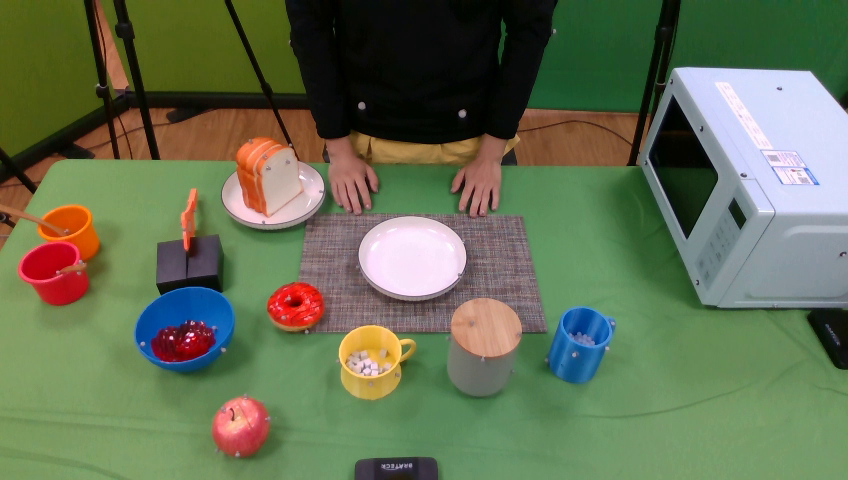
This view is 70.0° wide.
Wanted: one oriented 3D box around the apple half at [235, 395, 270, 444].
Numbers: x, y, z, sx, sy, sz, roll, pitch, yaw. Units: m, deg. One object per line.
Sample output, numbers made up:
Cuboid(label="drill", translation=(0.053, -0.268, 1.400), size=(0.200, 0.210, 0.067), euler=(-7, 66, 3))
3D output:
Cuboid(label="apple half", translation=(-0.245, 0.259, 0.893), size=(0.033, 0.082, 0.081), euler=(-29, 55, -22))

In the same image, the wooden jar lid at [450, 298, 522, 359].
Cuboid(label="wooden jar lid", translation=(0.093, 0.135, 0.914), size=(0.108, 0.021, 0.107), euler=(2, 48, -3))

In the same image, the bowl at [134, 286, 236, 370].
Cuboid(label="bowl", translation=(-0.377, 0.155, 0.981), size=(0.151, 0.077, 0.150), euler=(2, 46, -2))

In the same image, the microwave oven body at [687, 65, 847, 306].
Cuboid(label="microwave oven body", translation=(0.669, -0.111, 1.176), size=(0.326, 0.261, 0.439), euler=(0, 46, -3))

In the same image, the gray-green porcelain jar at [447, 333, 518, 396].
Cuboid(label="gray-green porcelain jar", translation=(0.091, 0.178, 0.960), size=(0.106, 0.127, 0.105), euler=(2, 46, -2))

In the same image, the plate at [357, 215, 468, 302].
Cuboid(label="plate", translation=(-0.022, 0.037, 1.141), size=(0.208, 0.039, 0.206), euler=(2, 46, -2))

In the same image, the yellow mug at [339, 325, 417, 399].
Cuboid(label="yellow mug", translation=(-0.072, 0.191, 0.978), size=(0.131, 0.064, 0.099), euler=(-17, 50, -20))

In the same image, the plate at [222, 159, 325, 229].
Cuboid(label="plate", translation=(-0.308, -0.095, 1.251), size=(0.209, 0.038, 0.208), euler=(2, 46, -2))

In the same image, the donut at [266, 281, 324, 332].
Cuboid(label="donut", translation=(-0.222, 0.114, 1.049), size=(0.099, 0.048, 0.098), euler=(2, 45, -2))

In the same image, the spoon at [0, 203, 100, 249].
Cuboid(label="spoon", translation=(-0.683, -0.031, 1.088), size=(0.195, 0.021, 0.041), euler=(33, 33, -38))

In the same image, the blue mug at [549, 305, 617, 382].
Cuboid(label="blue mug", translation=(0.269, 0.166, 0.998), size=(0.116, 0.106, 0.082), euler=(-19, 51, -21))

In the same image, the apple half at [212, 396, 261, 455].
Cuboid(label="apple half", translation=(-0.276, 0.276, 0.877), size=(0.053, 0.075, 0.080), euler=(-29, 58, -21))

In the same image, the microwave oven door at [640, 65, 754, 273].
Cuboid(label="microwave oven door", translation=(0.523, -0.147, 1.193), size=(0.039, 0.245, 0.353), euler=(0, 47, -3))

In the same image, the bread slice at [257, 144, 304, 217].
Cuboid(label="bread slice", translation=(-0.290, -0.124, 1.205), size=(0.018, 0.135, 0.107), euler=(25, 53, 23))

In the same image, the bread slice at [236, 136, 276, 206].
Cuboid(label="bread slice", translation=(-0.331, -0.147, 1.225), size=(0.019, 0.132, 0.105), euler=(24, 47, 26))

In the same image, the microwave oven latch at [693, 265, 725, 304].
Cuboid(label="microwave oven latch", translation=(0.522, 0.081, 1.115), size=(0.030, 0.029, 0.078), euler=(2, 46, -1))

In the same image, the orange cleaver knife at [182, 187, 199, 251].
Cuboid(label="orange cleaver knife", translation=(-0.445, -0.045, 1.163), size=(0.012, 0.077, 0.210), euler=(-5, 24, -13))

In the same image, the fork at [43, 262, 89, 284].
Cuboid(label="fork", translation=(-0.599, 0.053, 1.014), size=(0.207, 0.019, 0.028), euler=(-14, 30, 45))
